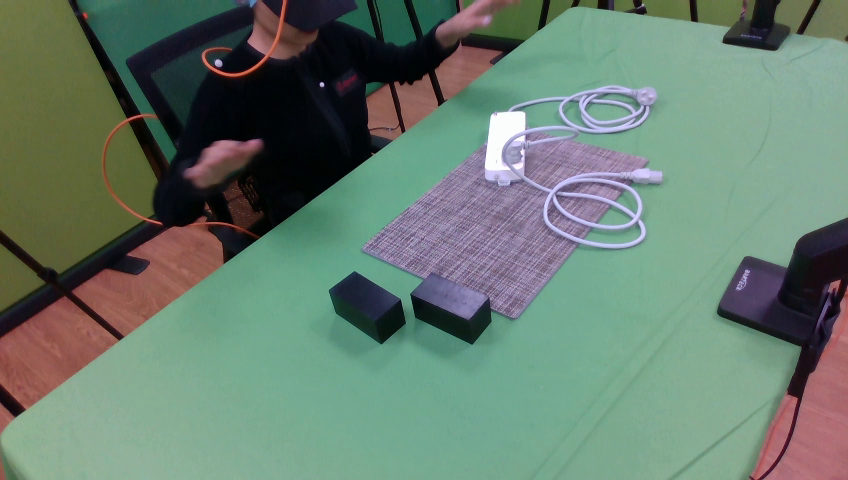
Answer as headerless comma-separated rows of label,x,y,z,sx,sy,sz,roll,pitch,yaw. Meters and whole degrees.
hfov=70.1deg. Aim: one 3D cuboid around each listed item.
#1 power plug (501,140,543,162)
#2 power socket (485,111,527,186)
power plug,0.174,-0.150,1.078,0.072,0.053,0.035,6,42,20
power socket,0.159,-0.181,1.153,0.072,0.033,0.226,0,41,11
